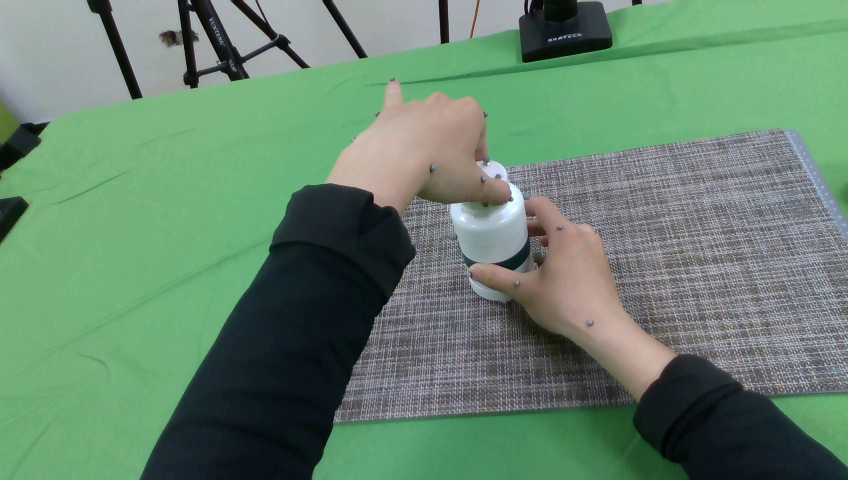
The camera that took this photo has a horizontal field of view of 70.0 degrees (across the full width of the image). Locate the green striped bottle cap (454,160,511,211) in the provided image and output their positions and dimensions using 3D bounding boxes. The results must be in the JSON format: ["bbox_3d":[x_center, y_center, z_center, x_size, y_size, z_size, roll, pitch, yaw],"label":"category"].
[{"bbox_3d":[0.047,-0.044,0.489,0.044,0.020,0.044,-11,45,12],"label":"green striped bottle cap"}]

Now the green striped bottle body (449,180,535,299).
[{"bbox_3d":[0.059,-0.008,0.529,0.063,0.120,0.062,-10,45,10],"label":"green striped bottle body"}]
